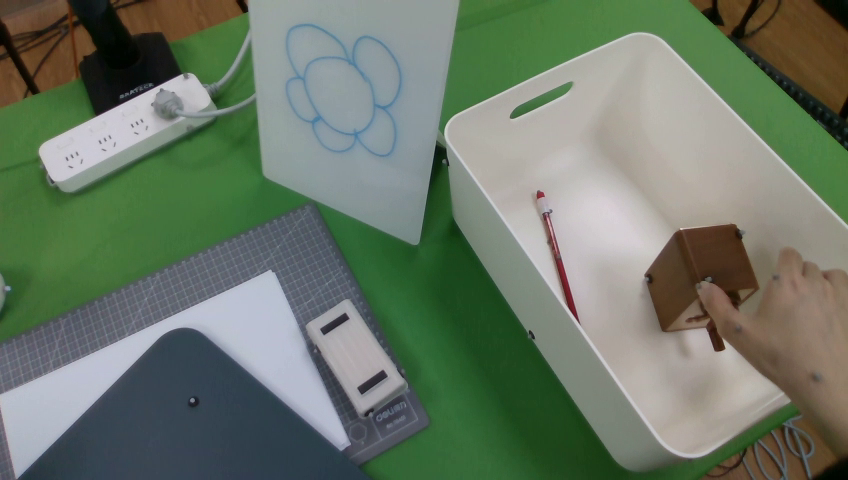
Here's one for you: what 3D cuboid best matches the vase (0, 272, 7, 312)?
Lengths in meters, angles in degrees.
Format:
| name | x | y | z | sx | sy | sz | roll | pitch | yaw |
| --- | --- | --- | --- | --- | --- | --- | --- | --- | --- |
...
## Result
| name | x | y | z | sx | sy | sz | roll | pitch | yaw |
| --- | --- | --- | --- | --- | --- | --- | --- | --- | --- |
| vase | -0.508 | 0.027 | 0.585 | 0.098 | 0.201 | 0.097 | -1 | 62 | 3 |

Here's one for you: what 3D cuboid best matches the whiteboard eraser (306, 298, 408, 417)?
| name | x | y | z | sx | sy | sz | roll | pitch | yaw |
| --- | --- | --- | --- | --- | --- | --- | --- | --- | --- |
| whiteboard eraser | -0.068 | 0.117 | 0.612 | 0.055 | 0.042 | 0.111 | -31 | 66 | -16 |

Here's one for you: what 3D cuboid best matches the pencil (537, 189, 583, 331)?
| name | x | y | z | sx | sy | sz | roll | pitch | yaw |
| --- | --- | --- | --- | --- | --- | --- | --- | --- | --- |
| pencil | 0.151 | 0.028 | 0.669 | 0.012 | 0.012 | 0.192 | -9 | 65 | -2 |

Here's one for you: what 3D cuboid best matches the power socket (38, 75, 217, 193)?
| name | x | y | z | sx | sy | sz | roll | pitch | yaw |
| --- | --- | --- | --- | --- | --- | --- | --- | --- | --- |
| power socket | -0.367 | -0.135 | 0.759 | 0.227 | 0.033 | 0.071 | -32 | 67 | -14 |

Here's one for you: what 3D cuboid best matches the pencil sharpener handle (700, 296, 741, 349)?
| name | x | y | z | sx | sy | sz | roll | pitch | yaw |
| --- | --- | --- | --- | --- | --- | --- | --- | --- | --- |
| pencil sharpener handle | 0.280 | 0.079 | 0.568 | 0.036 | 0.068 | 0.030 | -12 | 62 | 8 |

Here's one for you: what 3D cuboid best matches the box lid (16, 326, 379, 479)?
| name | x | y | z | sx | sy | sz | roll | pitch | yaw |
| --- | --- | --- | --- | --- | --- | --- | --- | --- | --- |
| box lid | -0.194 | 0.270 | 0.556 | 0.369 | 0.015 | 0.262 | 34 | 68 | 17 |

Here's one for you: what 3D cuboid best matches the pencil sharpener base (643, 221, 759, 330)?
| name | x | y | z | sx | sy | sz | roll | pitch | yaw |
| --- | --- | --- | --- | --- | --- | --- | --- | --- | --- |
| pencil sharpener base | 0.271 | 0.041 | 0.602 | 0.061 | 0.108 | 0.076 | -6 | 62 | -2 |

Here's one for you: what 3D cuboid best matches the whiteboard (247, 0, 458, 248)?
| name | x | y | z | sx | sy | sz | roll | pitch | yaw |
| --- | --- | --- | --- | --- | --- | --- | --- | --- | --- |
| whiteboard | -0.055 | -0.179 | 0.655 | 0.216 | 0.308 | 0.143 | 25 | 47 | 14 |

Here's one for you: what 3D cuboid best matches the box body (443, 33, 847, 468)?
| name | x | y | z | sx | sy | sz | roll | pitch | yaw |
| --- | --- | --- | --- | --- | --- | --- | --- | --- | --- |
| box body | 0.209 | 0.007 | 0.597 | 0.254 | 0.161 | 0.360 | -27 | 65 | -12 |

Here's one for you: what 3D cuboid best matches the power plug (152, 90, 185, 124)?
| name | x | y | z | sx | sy | sz | roll | pitch | yaw |
| --- | --- | --- | --- | --- | --- | --- | --- | --- | --- |
| power plug | -0.309 | -0.151 | 0.740 | 0.035 | 0.053 | 0.072 | -23 | 65 | -9 |
